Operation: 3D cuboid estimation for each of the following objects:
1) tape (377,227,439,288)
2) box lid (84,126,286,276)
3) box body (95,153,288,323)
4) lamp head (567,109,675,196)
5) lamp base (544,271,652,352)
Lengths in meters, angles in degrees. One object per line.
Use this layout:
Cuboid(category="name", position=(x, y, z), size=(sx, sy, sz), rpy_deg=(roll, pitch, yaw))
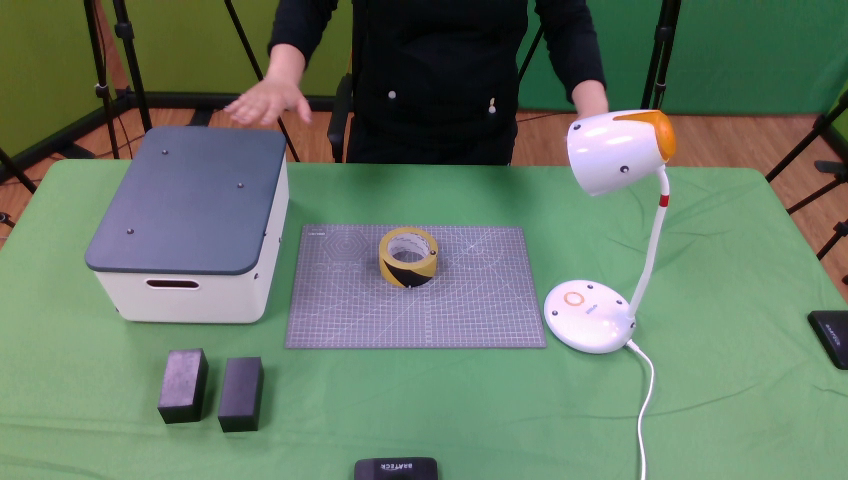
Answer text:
Cuboid(category="tape", position=(-0.031, 0.032, 1.140), size=(0.117, 0.053, 0.116), rpy_deg=(2, 46, -2))
Cuboid(category="box lid", position=(-0.393, -0.081, 1.046), size=(0.263, 0.015, 0.369), rpy_deg=(2, 46, -3))
Cuboid(category="box body", position=(-0.396, -0.031, 1.100), size=(0.254, 0.161, 0.361), rpy_deg=(1, 46, -3))
Cuboid(category="lamp head", position=(0.272, -0.123, 0.818), size=(0.122, 0.113, 0.112), rpy_deg=(-9, 35, 37))
Cuboid(category="lamp base", position=(0.310, 0.086, 1.029), size=(0.178, 0.181, 0.160), rpy_deg=(32, 52, 21))
